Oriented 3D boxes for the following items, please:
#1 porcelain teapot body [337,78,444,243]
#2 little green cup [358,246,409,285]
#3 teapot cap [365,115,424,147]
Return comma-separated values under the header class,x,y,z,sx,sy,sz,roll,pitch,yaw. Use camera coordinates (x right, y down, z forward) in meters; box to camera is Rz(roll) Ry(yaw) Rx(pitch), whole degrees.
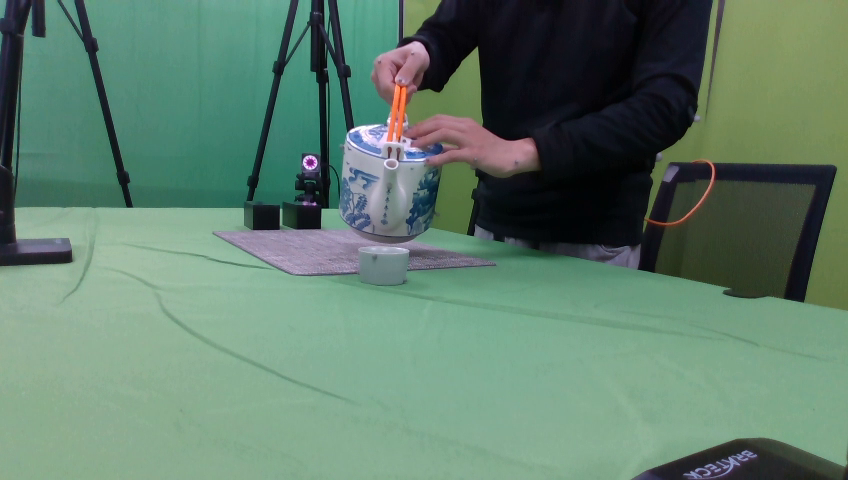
class,x,y,z,sx,sy,sz,roll,pitch,yaw
porcelain teapot body,-0.045,-0.105,0.851,0.145,0.225,0.205,7,30,-6
little green cup,-0.048,0.030,0.707,0.061,0.038,0.061,2,8,0
teapot cap,-0.042,-0.154,0.857,0.085,0.044,0.085,7,31,-4
